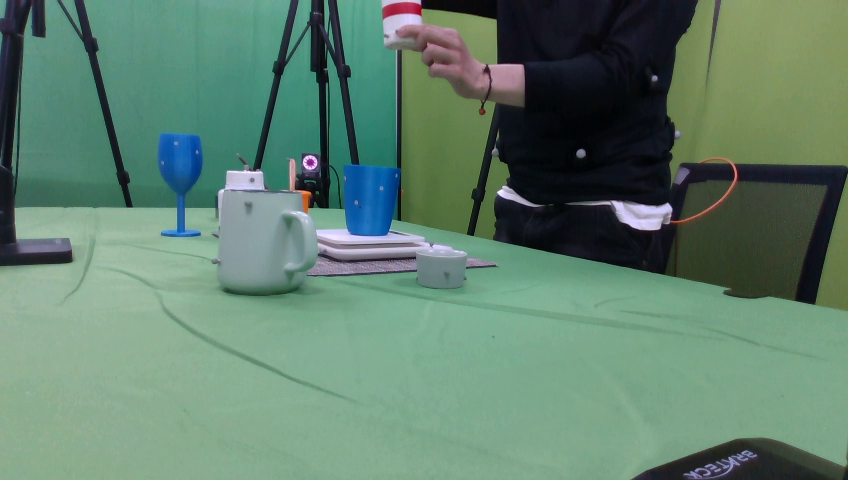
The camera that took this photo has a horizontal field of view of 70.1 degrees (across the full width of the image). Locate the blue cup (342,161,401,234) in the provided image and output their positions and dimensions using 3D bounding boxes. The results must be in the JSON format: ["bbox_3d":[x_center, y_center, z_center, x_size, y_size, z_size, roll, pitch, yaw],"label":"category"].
[{"bbox_3d":[-0.079,-0.061,0.882,0.093,0.100,0.092,4,6,0],"label":"blue cup"}]

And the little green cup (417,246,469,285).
[{"bbox_3d":[0.021,0.029,0.701,0.061,0.038,0.061,1,6,0],"label":"little green cup"}]

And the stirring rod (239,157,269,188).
[{"bbox_3d":[-0.309,-0.098,1.209,0.006,0.177,0.014,-39,29,-3],"label":"stirring rod"}]

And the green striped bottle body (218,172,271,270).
[{"bbox_3d":[-0.223,-0.025,0.755,0.063,0.119,0.063,2,7,0],"label":"green striped bottle body"}]

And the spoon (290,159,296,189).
[{"bbox_3d":[-0.273,-0.102,1.252,0.042,0.193,0.021,7,-38,-17],"label":"spoon"}]

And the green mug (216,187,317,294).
[{"bbox_3d":[-0.157,0.000,0.629,0.124,0.105,0.093,8,9,37],"label":"green mug"}]

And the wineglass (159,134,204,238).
[{"bbox_3d":[-0.415,-0.093,1.040,0.074,0.172,0.073,2,7,0],"label":"wineglass"}]

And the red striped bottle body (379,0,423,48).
[{"bbox_3d":[-0.038,-0.366,0.939,0.063,0.119,0.063,-5,5,1],"label":"red striped bottle body"}]

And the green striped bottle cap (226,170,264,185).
[{"bbox_3d":[-0.222,-0.077,0.748,0.044,0.020,0.044,1,7,0],"label":"green striped bottle cap"}]

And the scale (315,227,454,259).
[{"bbox_3d":[-0.066,0.001,0.906,0.202,0.031,0.148,-2,8,-31],"label":"scale"}]
